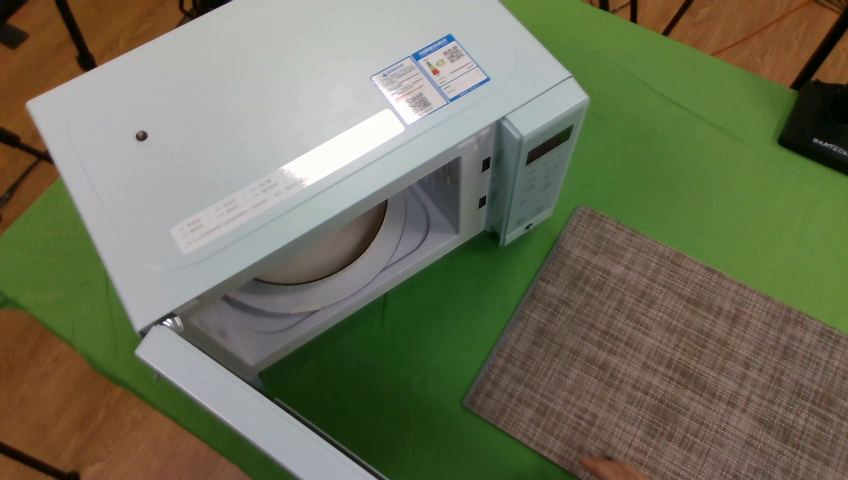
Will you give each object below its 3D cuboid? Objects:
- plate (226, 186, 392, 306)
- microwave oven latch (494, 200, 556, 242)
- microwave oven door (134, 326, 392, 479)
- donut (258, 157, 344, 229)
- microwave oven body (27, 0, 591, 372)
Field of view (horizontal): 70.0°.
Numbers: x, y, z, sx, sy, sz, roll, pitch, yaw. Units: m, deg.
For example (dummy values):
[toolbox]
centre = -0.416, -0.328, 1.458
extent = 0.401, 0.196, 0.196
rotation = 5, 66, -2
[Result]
[plate]
centre = -0.137, -0.017, 0.687
extent = 0.209, 0.038, 0.207
rotation = -3, 61, 6
[microwave oven latch]
centre = 0.124, -0.032, 0.743
extent = 0.079, 0.030, 0.030
rotation = -32, 69, -11
[microwave oven door]
centre = -0.065, 0.207, 0.531
extent = 0.354, 0.245, 0.039
rotation = 30, 70, 14
[donut]
centre = -0.143, -0.054, 0.704
extent = 0.099, 0.048, 0.098
rotation = 3, 52, -4
[microwave oven body]
centre = -0.110, -0.092, 0.671
extent = 0.442, 0.262, 0.323
rotation = -32, 69, -11
